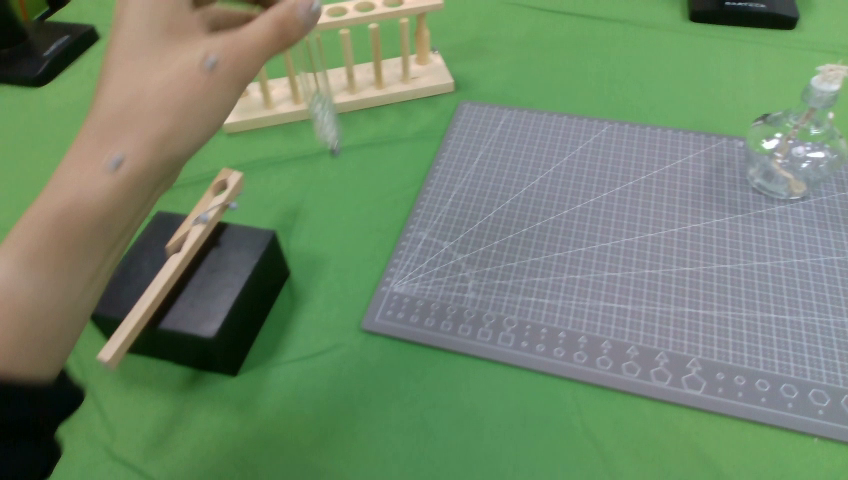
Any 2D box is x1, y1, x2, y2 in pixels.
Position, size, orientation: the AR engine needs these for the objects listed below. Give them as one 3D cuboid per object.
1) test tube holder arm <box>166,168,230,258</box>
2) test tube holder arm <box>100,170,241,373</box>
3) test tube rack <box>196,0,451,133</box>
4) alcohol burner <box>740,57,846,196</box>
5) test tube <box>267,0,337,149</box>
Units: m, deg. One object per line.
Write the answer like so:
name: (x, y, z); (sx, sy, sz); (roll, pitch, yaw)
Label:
test tube holder arm: (-0.169, -0.021, 0.460); (0.010, 0.015, 0.087); (14, 52, 6)
test tube holder arm: (-0.175, 0.014, 0.432); (0.013, 0.015, 0.177); (13, 52, 5)
test tube rack: (-0.098, -0.187, 0.624); (0.243, 0.086, 0.066); (-13, 49, -8)
alcohol burner: (0.307, -0.095, 0.496); (0.078, 0.120, 0.077); (-1, 47, 1)
test tube: (-0.065, -0.101, 0.304); (0.017, 0.151, 0.017); (-2, 54, 4)
